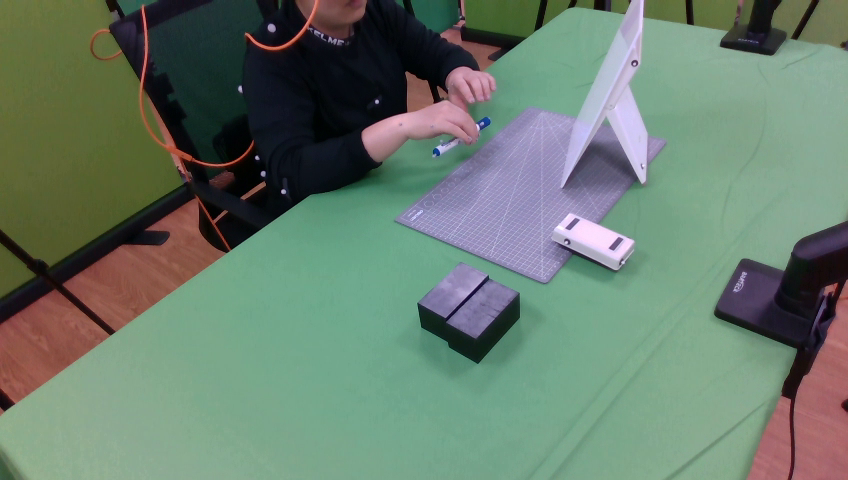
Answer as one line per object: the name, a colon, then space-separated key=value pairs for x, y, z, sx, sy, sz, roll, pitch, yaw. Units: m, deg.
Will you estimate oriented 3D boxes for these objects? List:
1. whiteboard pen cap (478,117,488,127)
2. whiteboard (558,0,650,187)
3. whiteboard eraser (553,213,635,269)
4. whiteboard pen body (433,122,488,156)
whiteboard pen cap: x=0.112 y=-0.222 z=1.135 sx=0.018 sy=0.018 sz=0.033 roll=1 pitch=17 yaw=11
whiteboard: x=0.362 y=-0.238 z=1.026 sx=0.144 sy=0.306 sz=0.217 roll=21 pitch=44 yaw=4
whiteboard eraser: x=0.257 y=0.003 z=0.918 sx=0.112 sy=0.042 sz=0.056 roll=27 pitch=49 yaw=30
whiteboard pen body: x=0.070 y=-0.188 z=1.102 sx=0.141 sy=0.017 sz=0.017 roll=-34 pitch=47 yaw=-31
